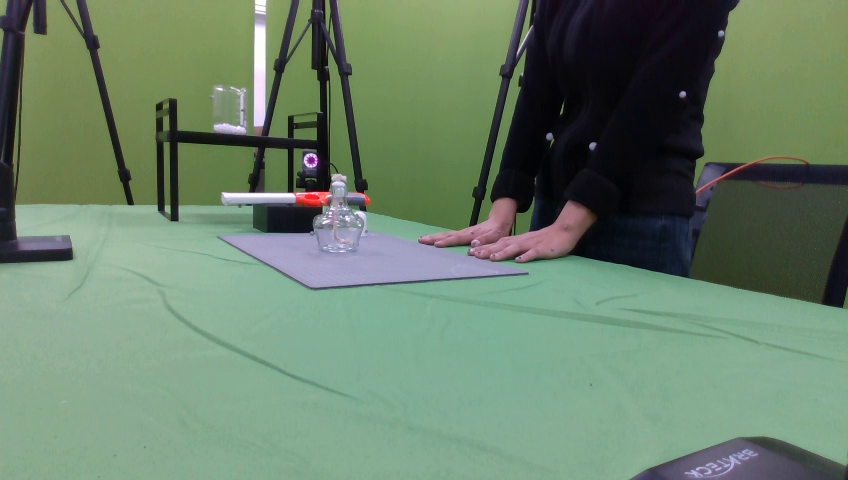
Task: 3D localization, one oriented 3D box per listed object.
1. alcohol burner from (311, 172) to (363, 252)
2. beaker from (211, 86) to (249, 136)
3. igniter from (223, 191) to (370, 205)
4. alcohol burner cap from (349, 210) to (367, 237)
[{"bbox_3d":[-0.130,-0.042,0.906,0.078,0.119,0.078,2,6,0],"label":"alcohol burner"},{"bbox_3d":[-0.413,-0.274,1.297,0.074,0.100,0.083,-5,11,-44],"label":"beaker"},{"bbox_3d":[-0.239,-0.080,1.159,0.278,0.025,0.057,-2,20,-26],"label":"igniter"},{"bbox_3d":[-0.118,-0.030,1.095,0.034,0.048,0.034,2,8,0],"label":"alcohol burner cap"}]
